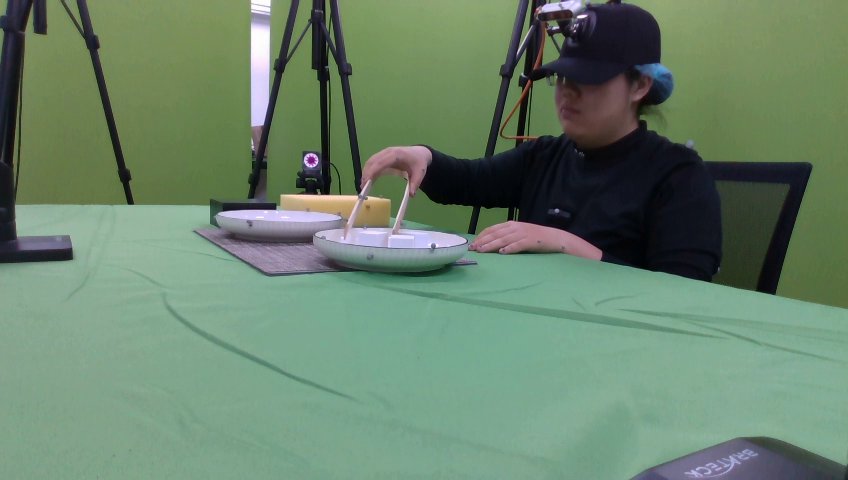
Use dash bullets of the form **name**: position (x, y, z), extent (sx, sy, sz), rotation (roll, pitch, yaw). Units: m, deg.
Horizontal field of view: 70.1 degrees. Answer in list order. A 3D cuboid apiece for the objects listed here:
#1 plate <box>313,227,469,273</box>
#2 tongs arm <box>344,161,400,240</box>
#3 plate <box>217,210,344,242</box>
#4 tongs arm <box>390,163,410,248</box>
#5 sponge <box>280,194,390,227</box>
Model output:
- **plate**: position (-0.044, 0.012, 0.807), extent (0.209, 0.038, 0.209), rotation (2, 7, 0)
- **tongs arm**: position (-0.077, -0.074, 0.980), extent (0.051, 0.026, 0.384), rotation (9, 21, -2)
- **plate**: position (-0.241, -0.024, 1.026), extent (0.208, 0.039, 0.207), rotation (3, 7, 0)
- **tongs arm**: position (-0.040, -0.067, 0.981), extent (0.028, 0.028, 0.387), rotation (6, 21, -1)
- **sponge**: position (-0.188, -0.063, 1.291), extent (0.208, 0.061, 0.117), rotation (-2, 9, -35)
